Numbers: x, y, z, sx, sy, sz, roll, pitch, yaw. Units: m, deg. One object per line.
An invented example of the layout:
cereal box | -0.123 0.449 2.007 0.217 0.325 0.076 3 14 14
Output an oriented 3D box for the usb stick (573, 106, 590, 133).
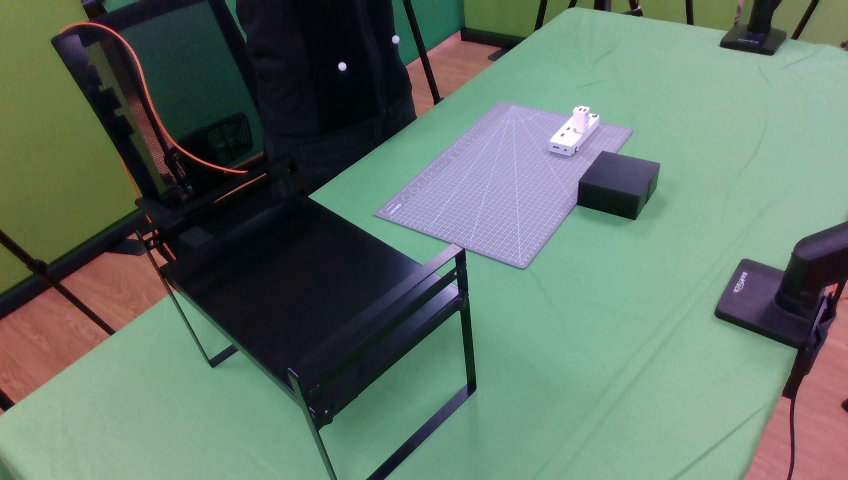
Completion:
usb stick | 0.295 -0.220 1.137 0.027 0.059 0.021 22 50 29

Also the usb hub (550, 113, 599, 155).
usb hub | 0.291 -0.207 1.166 0.049 0.025 0.125 21 49 29
